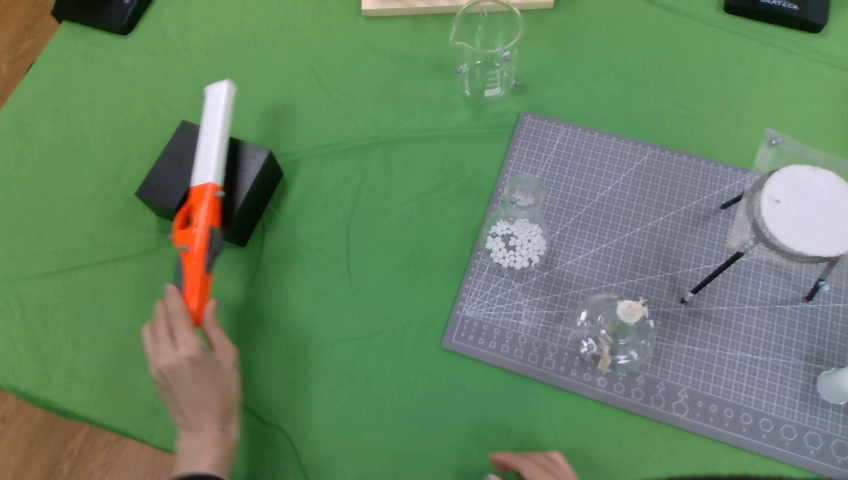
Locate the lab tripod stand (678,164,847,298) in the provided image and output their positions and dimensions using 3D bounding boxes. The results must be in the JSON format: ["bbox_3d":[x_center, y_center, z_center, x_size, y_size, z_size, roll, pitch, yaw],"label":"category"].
[{"bbox_3d":[0.323,0.000,0.571,0.148,0.132,0.147,0,67,1],"label":"lab tripod stand"}]

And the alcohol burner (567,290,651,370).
[{"bbox_3d":[0.174,0.078,0.557,0.078,0.120,0.077,0,66,1],"label":"alcohol burner"}]

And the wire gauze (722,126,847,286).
[{"bbox_3d":[0.328,-0.028,0.509,0.121,0.011,0.124,23,71,10],"label":"wire gauze"}]

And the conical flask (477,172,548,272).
[{"bbox_3d":[0.091,-0.022,0.596,0.075,0.123,0.075,-1,67,3],"label":"conical flask"}]

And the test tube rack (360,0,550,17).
[{"bbox_3d":[0.037,-0.338,0.751,0.242,0.086,0.066,-2,68,2],"label":"test tube rack"}]

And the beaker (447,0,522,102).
[{"bbox_3d":[0.066,-0.211,0.690,0.084,0.101,0.073,-23,68,-6],"label":"beaker"}]

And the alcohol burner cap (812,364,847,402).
[{"bbox_3d":[0.390,0.131,0.564,0.034,0.048,0.033,-1,68,3],"label":"alcohol burner cap"}]

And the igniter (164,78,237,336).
[{"bbox_3d":[-0.217,-0.041,0.598,0.057,0.025,0.274,-9,65,22],"label":"igniter"}]
